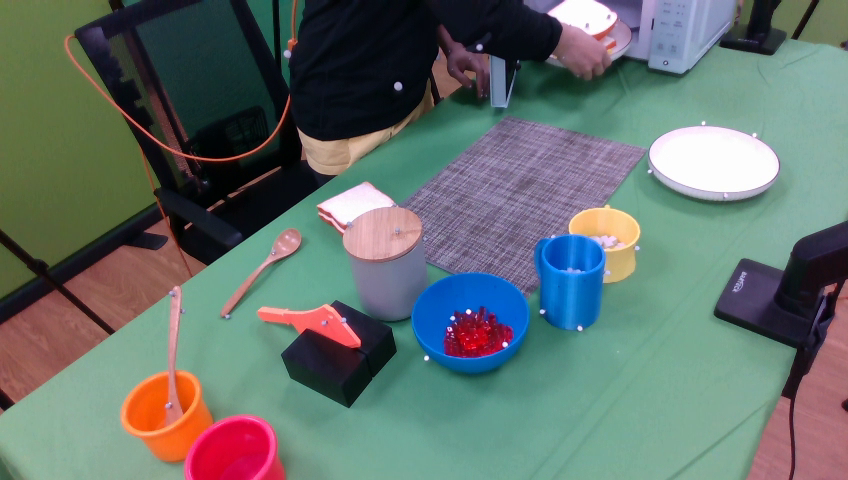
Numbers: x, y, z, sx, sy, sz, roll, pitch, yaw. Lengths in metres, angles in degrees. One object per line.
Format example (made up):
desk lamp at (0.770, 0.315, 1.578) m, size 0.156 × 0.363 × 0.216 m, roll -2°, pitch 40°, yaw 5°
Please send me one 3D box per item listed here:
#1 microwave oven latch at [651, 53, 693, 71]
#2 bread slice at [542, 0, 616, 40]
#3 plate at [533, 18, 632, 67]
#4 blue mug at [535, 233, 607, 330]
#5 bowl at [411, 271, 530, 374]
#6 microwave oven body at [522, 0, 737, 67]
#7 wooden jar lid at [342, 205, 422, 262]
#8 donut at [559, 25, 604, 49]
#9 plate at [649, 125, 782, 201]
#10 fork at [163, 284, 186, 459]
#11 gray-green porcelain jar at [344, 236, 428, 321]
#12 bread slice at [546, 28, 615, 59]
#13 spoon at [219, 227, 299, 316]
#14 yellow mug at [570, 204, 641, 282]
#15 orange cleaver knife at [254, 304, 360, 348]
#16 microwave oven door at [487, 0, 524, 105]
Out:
microwave oven latch at (0.532, -0.386, 1.301) m, size 0.078 × 0.029 × 0.030 m, roll 27°, pitch 52°, yaw 34°
bread slice at (0.334, -0.472, 1.273) m, size 0.107 × 0.018 × 0.133 m, roll -41°, pitch 60°, yaw -16°
plate at (0.342, -0.431, 1.315) m, size 0.209 × 0.038 × 0.208 m, roll -5°, pitch 45°, yaw 5°
blue mug at (0.191, 0.048, 0.824) m, size 0.082 × 0.106 × 0.115 m, roll -26°, pitch 44°, yaw -20°
bowl at (0.061, 0.120, 0.780) m, size 0.151 × 0.077 × 0.150 m, roll -4°, pitch 40°, yaw 4°
microwave oven body at (0.475, -0.602, 1.411) m, size 0.438 × 0.261 × 0.327 m, roll 23°, pitch 50°, yaw 32°
wooden jar lid at (-0.055, -0.006, 0.808) m, size 0.108 × 0.021 × 0.108 m, roll -6°, pitch 41°, yaw 6°
donut at (0.337, -0.447, 1.290) m, size 0.099 × 0.048 × 0.098 m, roll -2°, pitch 54°, yaw 3°
plate at (0.493, -0.128, 1.036) m, size 0.207 × 0.039 × 0.206 m, roll -4°, pitch 41°, yaw 4°
fork at (-0.303, 0.157, 0.733) m, size 0.028 × 0.019 × 0.207 m, roll -3°, pitch 84°, yaw 13°
gray-green porcelain jar at (-0.050, 0.042, 0.849) m, size 0.106 × 0.127 × 0.105 m, roll -4°, pitch 41°, yaw 4°
bread slice at (0.333, -0.435, 1.321) m, size 0.105 × 0.019 × 0.130 m, roll -32°, pitch 48°, yaw -21°
spoon at (-0.261, 0.046, 0.954) m, size 0.041 × 0.021 × 0.194 m, roll 27°, pitch 48°, yaw 10°
yellow mug at (0.268, -0.005, 0.904) m, size 0.099 × 0.064 × 0.130 m, roll 7°, pitch 42°, yaw 15°
orange cleaver knife at (-0.161, 0.115, 0.813) m, size 0.210 × 0.077 × 0.012 m, roll -4°, pitch 33°, yaw 46°
microwave oven door at (0.181, -0.488, 1.314) m, size 0.039 × 0.245 × 0.355 m, roll 4°, pitch 42°, yaw 13°
